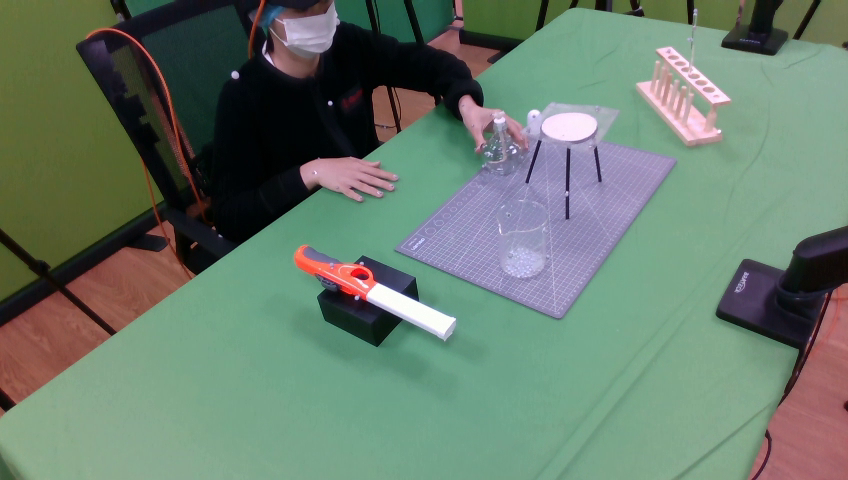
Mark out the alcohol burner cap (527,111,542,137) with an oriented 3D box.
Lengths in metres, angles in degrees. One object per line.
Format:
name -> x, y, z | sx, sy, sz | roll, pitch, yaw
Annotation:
alcohol burner cap -> 0.220, -0.233, 1.200 | 0.034, 0.048, 0.033 | -5, 41, 5

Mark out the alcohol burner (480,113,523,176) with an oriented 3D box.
alcohol burner -> 0.139, -0.176, 1.089 | 0.078, 0.119, 0.077 | -5, 42, 5

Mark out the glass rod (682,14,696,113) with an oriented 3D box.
glass rod -> 0.495, -0.326, 1.132 | 0.008, 0.201, 0.008 | -8, 42, 8

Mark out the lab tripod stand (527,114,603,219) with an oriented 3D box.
lab tripod stand -> 0.234, -0.129, 1.002 | 0.148, 0.132, 0.147 | -6, 40, 6

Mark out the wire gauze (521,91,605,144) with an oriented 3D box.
wire gauze -> 0.219, -0.191, 0.948 | 0.121, 0.011, 0.125 | 8, 49, 13

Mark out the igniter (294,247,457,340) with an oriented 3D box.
igniter -> -0.077, 0.068, 0.830 | 0.274, 0.025, 0.057 | 22, 48, 27

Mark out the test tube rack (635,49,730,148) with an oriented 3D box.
test tube rack -> 0.497, -0.283, 1.185 | 0.067, 0.085, 0.240 | -10, 40, -2

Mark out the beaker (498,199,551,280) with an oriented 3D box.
beaker -> 0.144, 0.003, 0.884 | 0.073, 0.101, 0.084 | 28, 52, 36
